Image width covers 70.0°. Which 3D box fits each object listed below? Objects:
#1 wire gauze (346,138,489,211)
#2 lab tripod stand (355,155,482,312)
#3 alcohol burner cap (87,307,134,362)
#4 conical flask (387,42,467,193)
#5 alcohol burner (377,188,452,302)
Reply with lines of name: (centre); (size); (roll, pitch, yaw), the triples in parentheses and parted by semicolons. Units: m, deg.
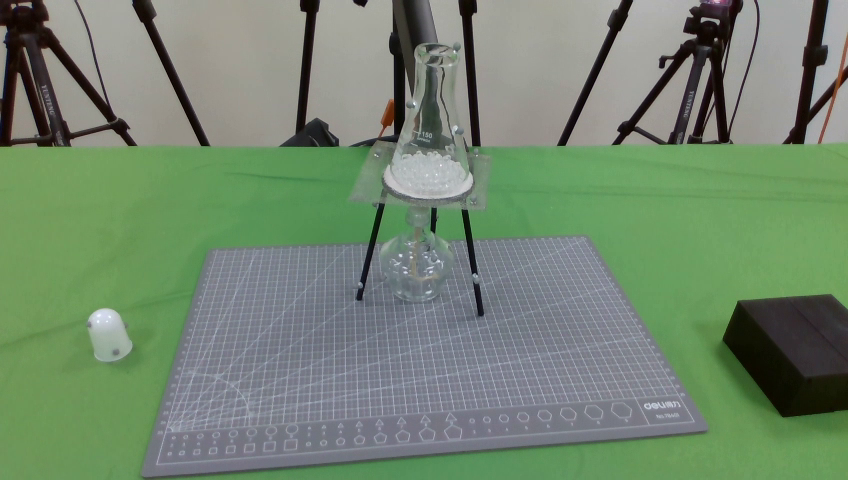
wire gauze: (-0.001, -0.062, 0.572); (0.121, 0.011, 0.124); (6, 36, 5)
lab tripod stand: (0.003, -0.007, 0.609); (0.148, 0.132, 0.147); (4, 33, -2)
alcohol burner cap: (-0.283, 0.082, 0.542); (0.034, 0.048, 0.033); (2, 34, -1)
conical flask: (0.006, -0.109, 0.536); (0.075, 0.123, 0.074); (3, 35, -2)
alcohol burner: (-0.009, 0.002, 0.613); (0.078, 0.120, 0.077); (1, 32, -1)
